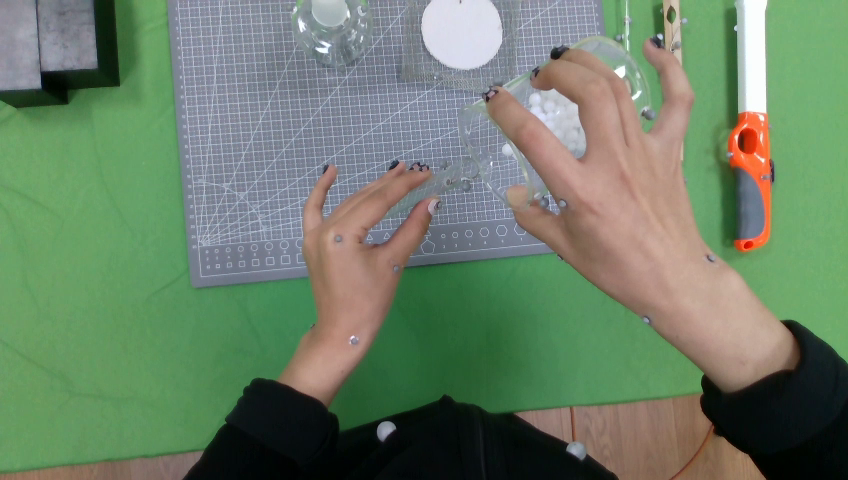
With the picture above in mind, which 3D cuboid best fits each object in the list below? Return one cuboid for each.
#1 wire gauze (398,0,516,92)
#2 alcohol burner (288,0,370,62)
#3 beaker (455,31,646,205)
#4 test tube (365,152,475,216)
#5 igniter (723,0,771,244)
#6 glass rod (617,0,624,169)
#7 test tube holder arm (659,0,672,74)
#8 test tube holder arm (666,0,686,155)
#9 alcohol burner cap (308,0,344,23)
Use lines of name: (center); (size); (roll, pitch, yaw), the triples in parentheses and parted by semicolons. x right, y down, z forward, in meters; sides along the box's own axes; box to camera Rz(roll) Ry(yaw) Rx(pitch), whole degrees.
wire gauze: (0.037, -0.224, 0.635); (0.125, 0.011, 0.121); (6, 88, -7)
alcohol burner: (-0.091, -0.214, 0.568); (0.078, 0.119, 0.078); (0, 87, -4)
beaker: (0.080, -0.078, 0.382); (0.100, 0.083, 0.074); (-32, 98, -12)
test tube: (-0.009, -0.040, 0.471); (0.017, 0.150, 0.017); (7, 77, -30)
igniter: (0.350, -0.133, 0.657); (0.057, 0.025, 0.276); (2, 87, -16)
glass rod: (0.212, -0.175, 0.653); (0.008, 0.008, 0.199); (0, 90, -6)
test tube holder arm: (0.263, -0.225, 0.657); (0.010, 0.015, 0.087); (-4, 88, 31)
test tube holder arm: (0.271, -0.181, 0.653); (0.013, 0.015, 0.178); (-6, 87, 30)
alcohol burner cap: (-0.088, -0.217, 0.532); (0.034, 0.048, 0.033); (1, 81, -6)
